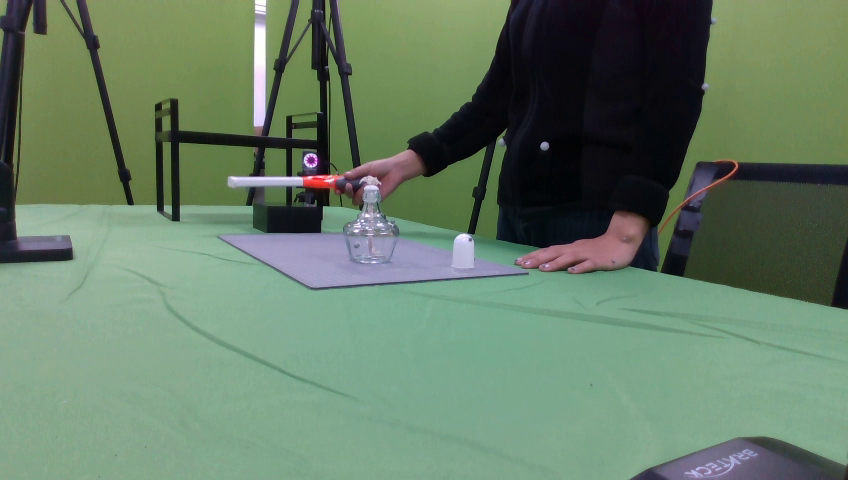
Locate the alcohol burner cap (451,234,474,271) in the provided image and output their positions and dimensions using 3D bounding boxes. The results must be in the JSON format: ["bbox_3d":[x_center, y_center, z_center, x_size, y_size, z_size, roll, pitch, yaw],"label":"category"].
[{"bbox_3d":[0.052,0.016,0.808,0.034,0.048,0.034,4,9,0],"label":"alcohol burner cap"}]

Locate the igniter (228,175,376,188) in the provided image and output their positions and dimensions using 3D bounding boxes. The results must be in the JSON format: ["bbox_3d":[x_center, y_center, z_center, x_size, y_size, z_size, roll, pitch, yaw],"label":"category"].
[{"bbox_3d":[-0.222,-0.110,1.139,0.278,0.025,0.057,-3,13,-28],"label":"igniter"}]

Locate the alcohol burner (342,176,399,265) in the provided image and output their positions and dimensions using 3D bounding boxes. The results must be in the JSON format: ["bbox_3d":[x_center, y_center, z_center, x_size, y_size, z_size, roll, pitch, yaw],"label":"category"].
[{"bbox_3d":[-0.073,-0.027,0.818,0.078,0.119,0.078,1,6,0],"label":"alcohol burner"}]
